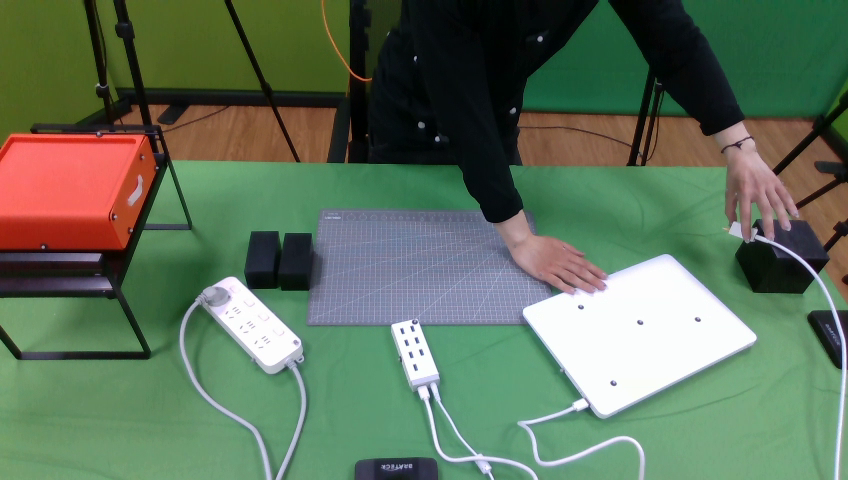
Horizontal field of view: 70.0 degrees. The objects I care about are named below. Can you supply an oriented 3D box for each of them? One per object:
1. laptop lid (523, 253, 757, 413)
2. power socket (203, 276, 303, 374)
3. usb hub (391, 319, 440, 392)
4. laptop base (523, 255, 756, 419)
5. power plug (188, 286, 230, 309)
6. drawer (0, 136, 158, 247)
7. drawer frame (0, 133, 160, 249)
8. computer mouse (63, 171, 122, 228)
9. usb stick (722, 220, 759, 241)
[{"bbox_3d":[0.380,0.147,1.073,0.357,0.013,0.240,-17,48,-19],"label":"laptop lid"},{"bbox_3d":[-0.296,0.141,1.034,0.225,0.033,0.072,37,55,27],"label":"power socket"},{"bbox_3d":[-0.015,0.190,1.013,0.049,0.025,0.124,-11,48,-15],"label":"usb hub"},{"bbox_3d":[0.381,0.158,1.081,0.355,0.023,0.234,-18,48,-21],"label":"laptop base"},{"bbox_3d":[-0.369,0.103,1.039,0.072,0.053,0.035,-26,54,-23],"label":"power plug"},{"bbox_3d":[-0.549,-0.080,0.943,0.212,0.073,0.193,1,47,-4],"label":"drawer"},{"bbox_3d":[-0.553,-0.078,0.942,0.214,0.083,0.200,-1,47,-4],"label":"drawer frame"},{"bbox_3d":[-0.522,-0.067,0.955,0.063,0.041,0.116,1,48,-9],"label":"computer mouse"},{"bbox_3d":[0.594,-0.020,1.139,0.059,0.027,0.021,22,13,30],"label":"usb stick"}]
